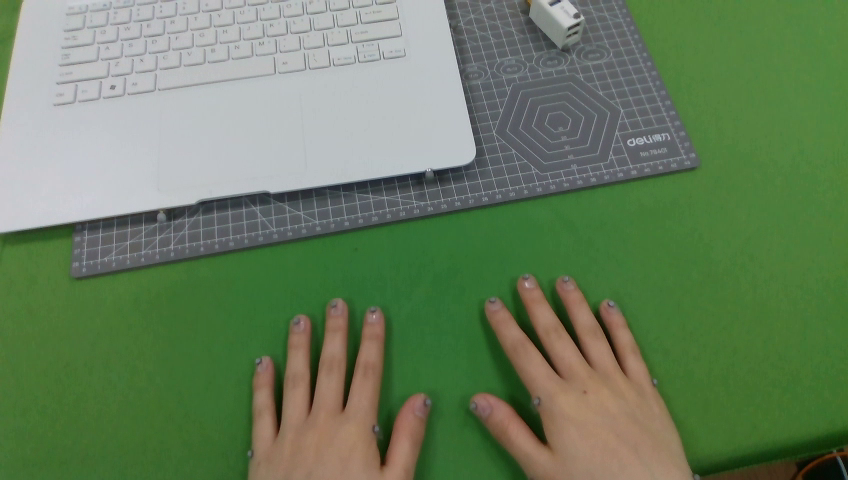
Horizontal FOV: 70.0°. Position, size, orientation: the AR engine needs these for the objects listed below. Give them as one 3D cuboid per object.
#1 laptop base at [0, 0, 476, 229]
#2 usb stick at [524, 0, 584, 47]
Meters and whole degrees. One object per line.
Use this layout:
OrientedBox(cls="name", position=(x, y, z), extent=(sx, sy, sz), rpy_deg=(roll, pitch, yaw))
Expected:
OrientedBox(cls="laptop base", position=(-0.151, -0.133, 0.481), extent=(0.354, 0.023, 0.233), rpy_deg=(-8, 67, -2))
OrientedBox(cls="usb stick", position=(0.103, -0.187, 0.493), extent=(0.021, 0.027, 0.058), rpy_deg=(-30, 64, -11))
